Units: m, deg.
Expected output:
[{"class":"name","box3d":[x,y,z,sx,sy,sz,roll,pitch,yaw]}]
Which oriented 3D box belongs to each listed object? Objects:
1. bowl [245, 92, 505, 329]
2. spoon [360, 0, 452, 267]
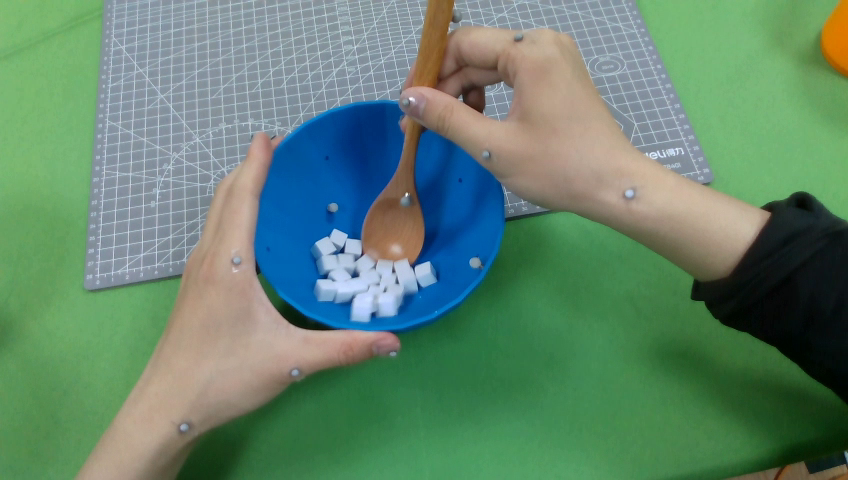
[{"class":"bowl","box3d":[-0.027,-0.009,0.385,0.151,0.077,0.150,0,68,1]},{"class":"spoon","box3d":[-0.006,-0.062,0.344,0.041,0.195,0.021,19,39,6]}]
